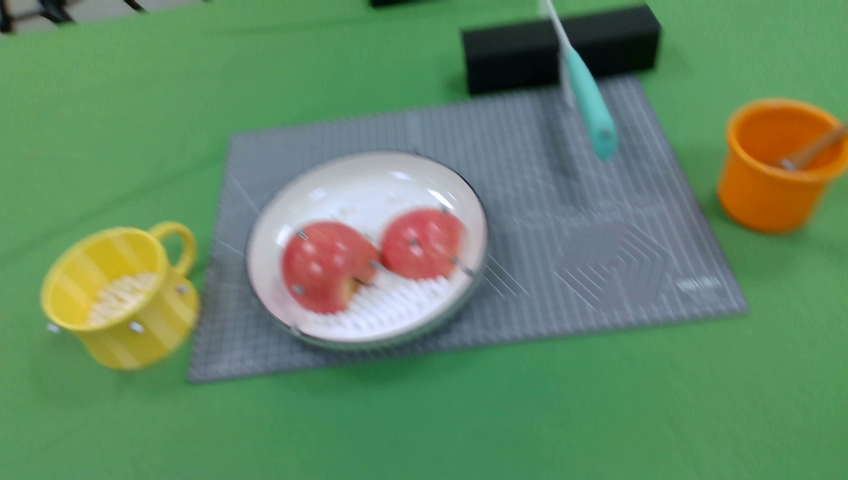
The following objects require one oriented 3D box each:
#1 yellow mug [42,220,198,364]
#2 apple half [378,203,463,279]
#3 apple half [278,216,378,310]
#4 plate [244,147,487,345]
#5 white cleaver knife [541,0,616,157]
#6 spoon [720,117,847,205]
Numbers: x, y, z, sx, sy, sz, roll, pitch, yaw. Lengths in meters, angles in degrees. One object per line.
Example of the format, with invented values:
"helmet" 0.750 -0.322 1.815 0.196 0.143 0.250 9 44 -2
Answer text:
"yellow mug" -0.245 0.034 0.519 0.099 0.064 0.130 21 57 23
"apple half" -0.005 -0.007 0.521 0.081 0.033 0.080 -3 54 5
"apple half" -0.084 0.011 0.507 0.074 0.054 0.080 32 63 31
"plate" -0.049 0.003 0.528 0.209 0.038 0.207 -4 52 5
"white cleaver knife" 0.152 -0.178 0.625 0.021 0.066 0.283 -10 47 7
"spoon" 0.327 -0.084 0.475 0.022 0.194 0.041 24 46 -30
